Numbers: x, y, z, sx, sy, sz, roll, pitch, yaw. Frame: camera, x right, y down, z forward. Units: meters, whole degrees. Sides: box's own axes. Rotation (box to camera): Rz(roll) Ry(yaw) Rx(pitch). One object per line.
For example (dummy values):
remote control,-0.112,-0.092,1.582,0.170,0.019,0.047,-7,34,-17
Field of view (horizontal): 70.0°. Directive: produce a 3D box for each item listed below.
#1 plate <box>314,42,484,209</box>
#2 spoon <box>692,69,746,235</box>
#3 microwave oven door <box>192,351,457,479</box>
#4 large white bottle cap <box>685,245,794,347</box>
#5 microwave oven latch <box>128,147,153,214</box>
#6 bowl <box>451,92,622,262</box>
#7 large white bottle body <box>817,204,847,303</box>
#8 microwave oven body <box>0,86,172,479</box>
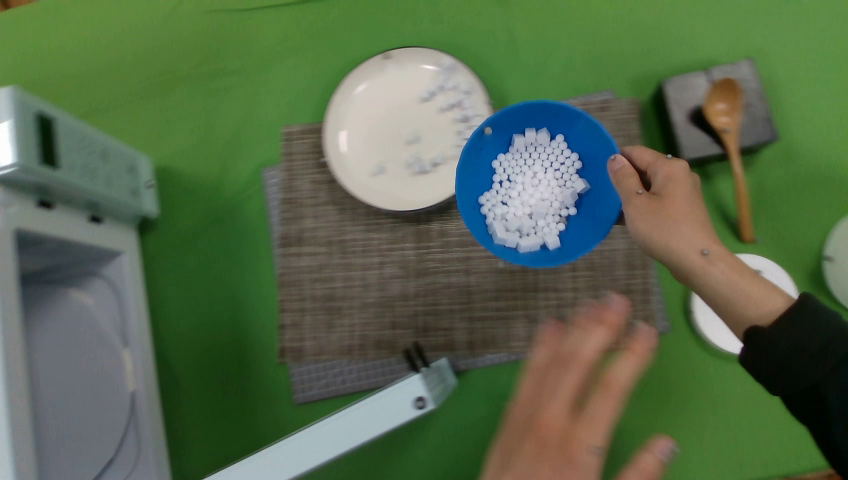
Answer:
plate,-0.029,-0.137,0.741,0.209,0.038,0.208,-1,82,7
spoon,0.333,-0.093,0.670,0.041,0.021,0.194,-19,103,2
microwave oven door,-0.141,0.209,0.593,0.356,0.245,0.039,-27,80,3
large white bottle cap,0.356,0.063,0.685,0.115,0.018,0.114,-1,83,5
microwave oven latch,-0.364,-0.073,0.757,0.030,0.029,0.079,-14,82,4
bowl,0.101,-0.054,0.570,0.151,0.077,0.151,0,89,4
large white bottle body,0.495,0.005,0.591,0.130,0.185,0.130,-1,82,7
microwave oven body,-0.479,0.119,0.648,0.326,0.261,0.440,-14,82,4
